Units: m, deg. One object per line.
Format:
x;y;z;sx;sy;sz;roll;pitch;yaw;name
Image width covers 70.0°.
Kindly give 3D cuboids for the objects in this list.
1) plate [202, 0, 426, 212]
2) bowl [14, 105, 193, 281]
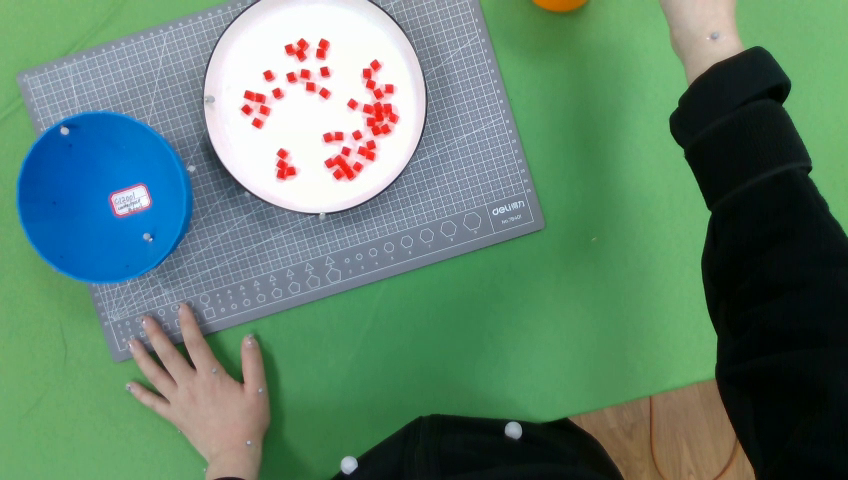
-0.100;-0.132;0.570;0.209;0.038;0.209;0;94;1;plate
-0.278;-0.041;0.559;0.151;0.077;0.151;0;94;1;bowl
